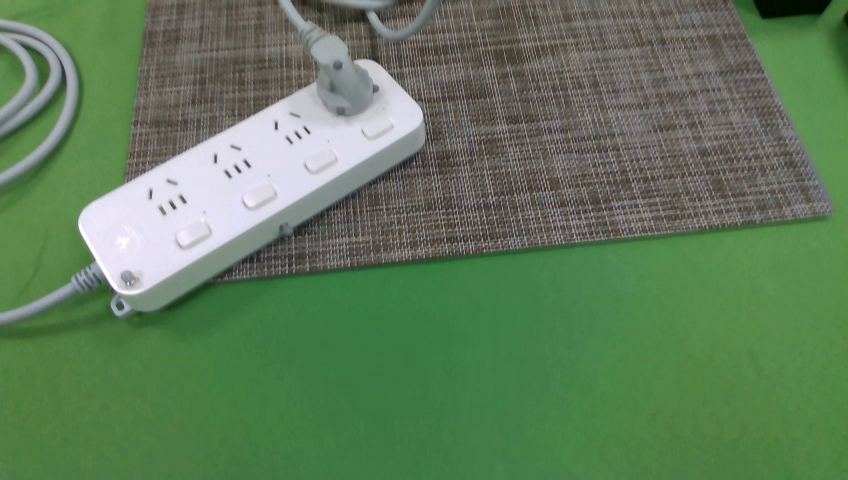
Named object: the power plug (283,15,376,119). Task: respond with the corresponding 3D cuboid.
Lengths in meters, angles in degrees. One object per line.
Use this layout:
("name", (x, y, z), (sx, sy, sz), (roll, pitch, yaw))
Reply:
("power plug", (-0.057, -0.108, 0.387), (0.035, 0.053, 0.072), (-24, 67, -11))

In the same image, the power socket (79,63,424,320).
("power socket", (-0.099, -0.037, 0.376), (0.227, 0.033, 0.071), (-34, 68, -16))
